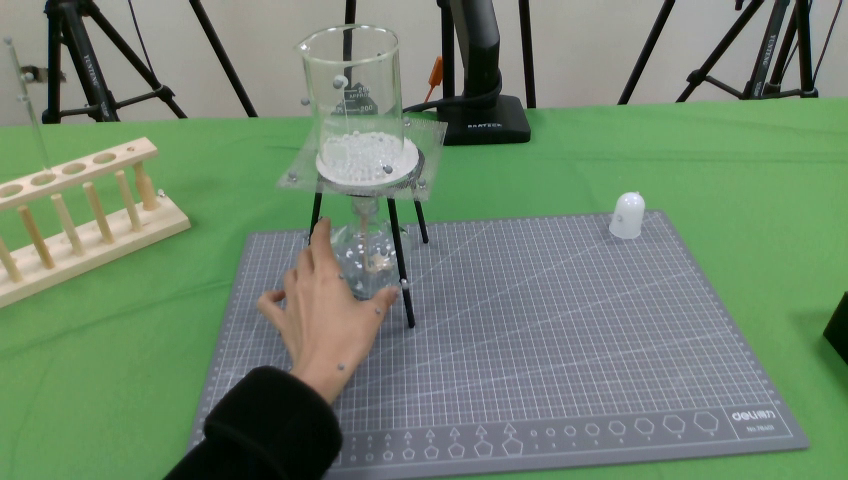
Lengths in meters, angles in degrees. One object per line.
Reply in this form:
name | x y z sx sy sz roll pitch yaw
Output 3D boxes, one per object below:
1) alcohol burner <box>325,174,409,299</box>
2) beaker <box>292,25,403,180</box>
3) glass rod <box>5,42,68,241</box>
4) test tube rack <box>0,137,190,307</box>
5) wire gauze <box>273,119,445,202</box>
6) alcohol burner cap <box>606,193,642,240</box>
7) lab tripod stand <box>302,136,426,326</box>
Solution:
alcohol burner | -0.053 -0.006 0.547 0.078 0.120 0.077 -2 37 2
beaker | -0.056 -0.105 0.470 0.084 0.101 0.073 8 40 12
glass rod | -0.364 -0.085 0.576 0.008 0.201 0.008 2 31 -1
test tube rack | -0.367 -0.012 0.589 0.242 0.086 0.066 -28 46 -30
wire gauze | -0.050 -0.071 0.506 0.125 0.011 0.120 3 37 10
alcohol burner cap | 0.207 -0.027 0.625 0.034 0.048 0.033 -1 38 1
lab tripod stand | -0.047 -0.013 0.540 0.148 0.133 0.147 -2 40 2
